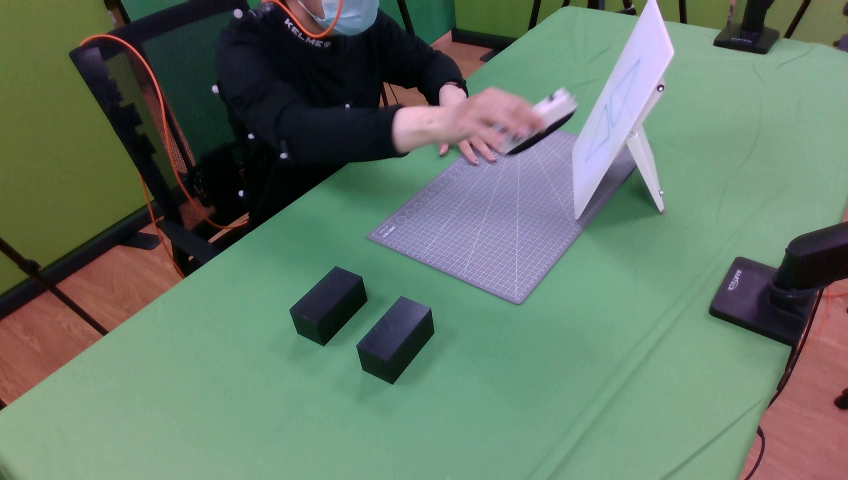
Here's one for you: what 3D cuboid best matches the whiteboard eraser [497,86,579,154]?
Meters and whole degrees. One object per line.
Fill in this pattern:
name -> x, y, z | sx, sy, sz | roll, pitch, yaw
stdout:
whiteboard eraser -> 0.155, -0.160, 0.822 | 0.112, 0.042, 0.055 | -33, 16, 16

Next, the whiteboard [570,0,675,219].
whiteboard -> 0.363, -0.187, 0.965 | 0.144, 0.305, 0.216 | 18, 42, -3
